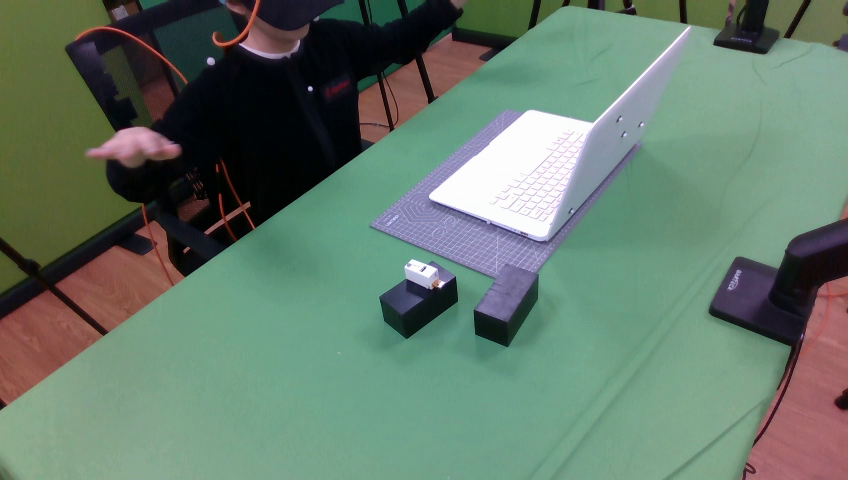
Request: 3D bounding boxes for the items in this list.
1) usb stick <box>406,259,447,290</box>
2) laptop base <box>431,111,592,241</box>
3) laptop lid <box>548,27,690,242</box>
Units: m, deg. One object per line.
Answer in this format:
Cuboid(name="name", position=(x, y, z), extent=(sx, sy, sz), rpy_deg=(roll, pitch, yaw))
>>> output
Cuboid(name="usb stick", position=(0.005, 0.050, 0.837), extent=(0.059, 0.027, 0.021), rpy_deg=(24, 48, 29))
Cuboid(name="laptop base", position=(0.206, -0.130, 1.100), extent=(0.233, 0.023, 0.355), rpy_deg=(20, 48, 33))
Cuboid(name="laptop lid", position=(0.309, -0.168, 0.949), extent=(0.013, 0.242, 0.358), rpy_deg=(33, 52, 20))
